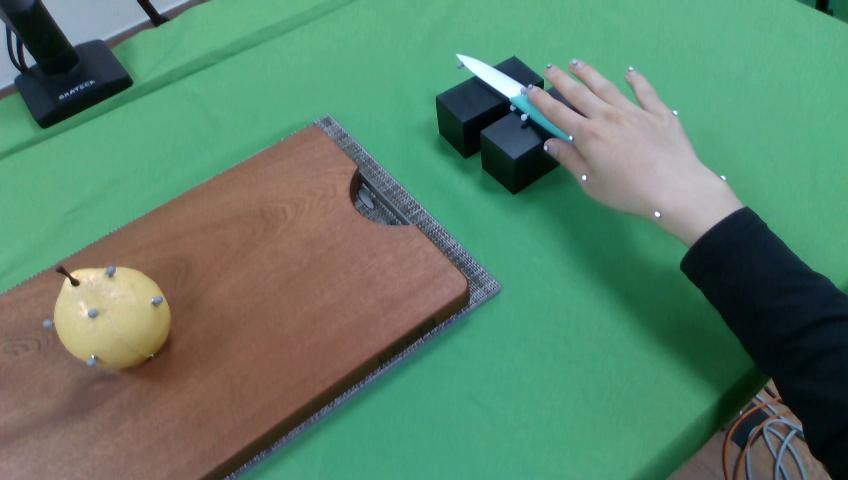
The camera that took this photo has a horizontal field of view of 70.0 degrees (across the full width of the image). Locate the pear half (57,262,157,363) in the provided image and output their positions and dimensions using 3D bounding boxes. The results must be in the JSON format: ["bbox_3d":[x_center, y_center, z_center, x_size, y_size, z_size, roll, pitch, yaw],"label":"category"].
[{"bbox_3d":[-0.251,0.052,0.457,0.056,0.111,0.075,-26,51,-9],"label":"pear half"}]

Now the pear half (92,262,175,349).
[{"bbox_3d":[-0.217,0.044,0.471,0.031,0.089,0.069,-28,49,-10],"label":"pear half"}]

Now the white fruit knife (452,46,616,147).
[{"bbox_3d":[0.095,-0.143,0.585,0.027,0.016,0.205,-35,56,-19],"label":"white fruit knife"}]
